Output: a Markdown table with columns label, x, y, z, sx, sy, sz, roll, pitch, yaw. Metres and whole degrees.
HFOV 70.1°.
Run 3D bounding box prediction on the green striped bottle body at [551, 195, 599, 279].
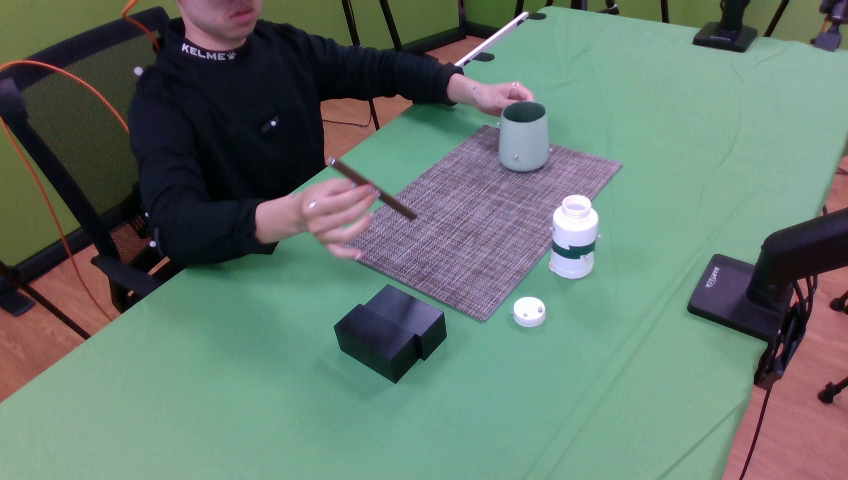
| label | x | y | z | sx | sy | sz | roll | pitch | yaw |
| --- | --- | --- | --- | --- | --- | --- | --- | --- | --- |
| green striped bottle body | 0.217 | -0.007 | 0.870 | 0.063 | 0.120 | 0.063 | -4 | 41 | 4 |

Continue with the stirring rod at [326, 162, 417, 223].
| label | x | y | z | sx | sy | sz | roll | pitch | yaw |
| --- | --- | --- | --- | --- | --- | --- | --- | --- | --- |
| stirring rod | -0.063 | -0.058 | 0.781 | 0.014 | 0.178 | 0.006 | -37 | 53 | 17 |

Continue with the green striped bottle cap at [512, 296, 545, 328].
| label | x | y | z | sx | sy | sz | roll | pitch | yaw |
| --- | --- | --- | --- | --- | --- | --- | --- | --- | --- |
| green striped bottle cap | 0.144 | 0.099 | 0.837 | 0.044 | 0.020 | 0.044 | -1 | 43 | 1 |

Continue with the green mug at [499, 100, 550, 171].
| label | x | y | z | sx | sy | sz | roll | pitch | yaw |
| --- | --- | --- | --- | --- | --- | --- | --- | --- | --- |
| green mug | 0.183 | -0.197 | 1.101 | 0.092 | 0.105 | 0.125 | 1 | 41 | 9 |
